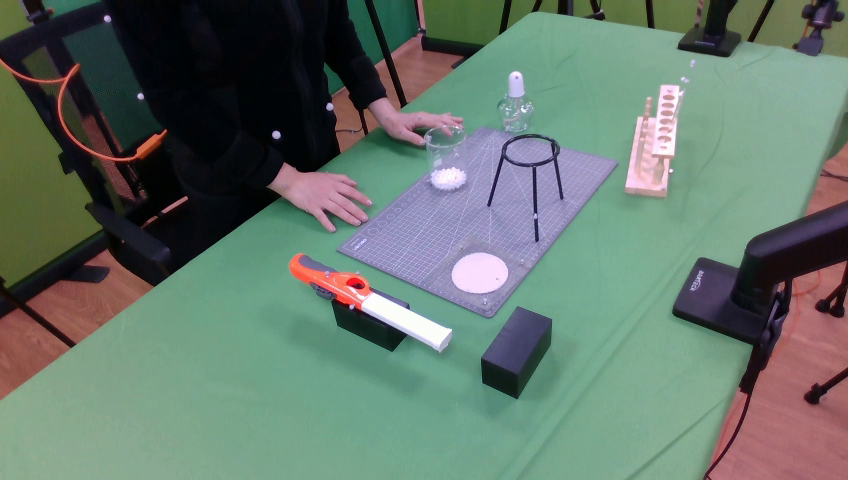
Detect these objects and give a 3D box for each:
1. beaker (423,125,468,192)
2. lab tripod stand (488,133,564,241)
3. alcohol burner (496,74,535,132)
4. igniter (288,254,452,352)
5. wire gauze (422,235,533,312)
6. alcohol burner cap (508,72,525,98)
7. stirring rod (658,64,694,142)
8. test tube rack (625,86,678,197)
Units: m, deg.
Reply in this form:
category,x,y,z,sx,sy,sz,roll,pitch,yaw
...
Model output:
category,x,y,z,sx,sy,sz,roll,pitch,yaw
beaker,0.042,-0.144,1.077,0.073,0.100,0.084,28,51,33
lab tripod stand,0.168,-0.093,0.972,0.148,0.132,0.147,-5,41,5
alcohol burner,0.184,-0.278,1.210,0.078,0.119,0.077,-3,43,3
igniter,-0.083,0.079,0.818,0.274,0.025,0.057,23,46,27
wire gauze,0.081,0.049,0.914,0.120,0.011,0.125,26,52,32
alcohol burner cap,0.181,-0.306,1.186,0.034,0.048,0.033,-7,39,6
stirring rod,0.409,-0.213,1.000,0.006,0.176,0.014,37,57,25
test tube rack,0.412,-0.184,1.088,0.066,0.085,0.242,9,43,18
